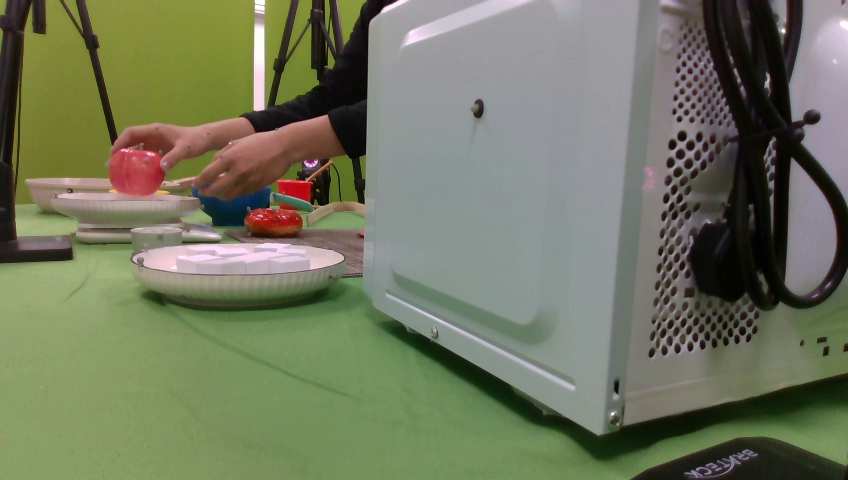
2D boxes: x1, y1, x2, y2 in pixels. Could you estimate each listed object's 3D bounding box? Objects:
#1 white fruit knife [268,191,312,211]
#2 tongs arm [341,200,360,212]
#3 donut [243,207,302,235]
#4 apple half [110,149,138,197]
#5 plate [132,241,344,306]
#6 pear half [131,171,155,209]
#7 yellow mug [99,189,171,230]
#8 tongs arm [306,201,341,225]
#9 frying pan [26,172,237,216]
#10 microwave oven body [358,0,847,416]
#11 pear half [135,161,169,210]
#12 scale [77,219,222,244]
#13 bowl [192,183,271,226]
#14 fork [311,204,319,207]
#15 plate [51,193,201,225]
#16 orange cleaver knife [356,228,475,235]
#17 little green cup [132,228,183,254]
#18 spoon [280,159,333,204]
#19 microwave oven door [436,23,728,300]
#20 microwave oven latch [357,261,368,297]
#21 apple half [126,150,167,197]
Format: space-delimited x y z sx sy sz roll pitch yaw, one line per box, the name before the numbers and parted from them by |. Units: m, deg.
white fruit knife | -0.364 -0.105 1.464 0.208 0.027 0.016 15 0 -34
tongs arm | -0.149 -0.069 1.429 0.051 0.026 0.383 -4 8 -14
donut | -0.261 -0.032 1.043 0.099 0.048 0.099 5 7 0
apple half | -0.463 -0.106 0.958 0.053 0.074 0.081 2 8 17
plate | -0.187 0.033 0.625 0.208 0.039 0.207 2 7 0
pear half | -0.638 -0.113 1.361 0.031 0.088 0.070 5 10 4
yellow mug | -0.519 -0.055 1.080 0.099 0.064 0.131 7 10 26
tongs arm | -0.234 -0.067 1.414 0.028 0.028 0.387 -5 7 1
frying pan | -0.624 -0.118 1.387 0.305 0.102 0.490 8 17 32
microwave oven body | 0.211 -0.047 0.474 0.444 0.260 0.324 -1 7 -28
pear half | -0.602 -0.120 1.354 0.056 0.110 0.076 4 11 6
scale | -0.434 -0.018 0.963 0.202 0.031 0.148 -1 8 -26
bowl | -0.382 -0.071 1.202 0.151 0.077 0.151 3 7 0
fork | -0.356 -0.105 1.526 0.208 0.018 0.028 16 -5 -41
plate | -0.460 -0.050 0.945 0.209 0.038 0.209 2 7 0
orange cleaver knife | -0.017 -0.015 1.080 0.211 0.012 0.077 0 2 -3
little green cup | -0.342 0.006 0.779 0.061 0.038 0.061 2 8 0
spoon | -0.316 -0.159 1.640 0.194 0.022 0.041 -49 32 -20
microwave oven door | 0.180 -0.073 0.621 0.358 0.243 0.039 -2 9 -29
microwave oven latch | -0.019 0.033 0.530 0.079 0.029 0.030 -1 7 -26
apple half | -0.426 -0.104 0.948 0.032 0.081 0.081 3 7 17
